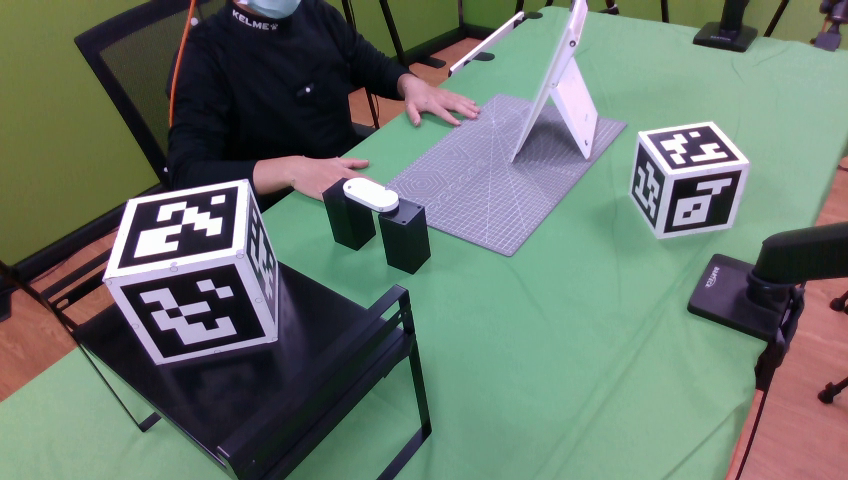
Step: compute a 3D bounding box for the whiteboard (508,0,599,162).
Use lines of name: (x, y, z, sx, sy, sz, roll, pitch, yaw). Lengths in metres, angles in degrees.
whiteboard: (0.285, -0.289, 1.090, 0.144, 0.305, 0.217, 22, 45, 3)

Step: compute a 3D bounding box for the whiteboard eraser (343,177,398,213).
whiteboard eraser: (-0.081, -0.069, 0.909, 0.100, 0.019, 0.041, 26, 51, 33)
